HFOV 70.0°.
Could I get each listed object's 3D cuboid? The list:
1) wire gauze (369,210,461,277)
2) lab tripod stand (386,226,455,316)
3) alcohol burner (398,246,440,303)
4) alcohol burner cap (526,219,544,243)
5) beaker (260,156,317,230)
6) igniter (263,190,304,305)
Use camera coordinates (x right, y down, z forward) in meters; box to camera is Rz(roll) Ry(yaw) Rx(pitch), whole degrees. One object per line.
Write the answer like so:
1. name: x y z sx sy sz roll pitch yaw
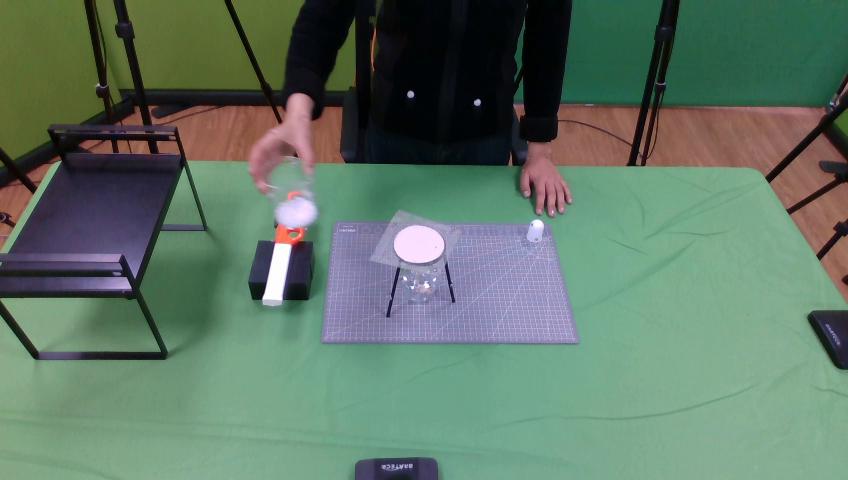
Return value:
1. wire gauze: -0.013 0.005 1.017 0.121 0.011 0.124 17 49 12
2. lab tripod stand: -0.013 0.054 1.064 0.148 0.132 0.147 2 48 -2
3. alcohol burner: -0.008 0.056 1.077 0.078 0.119 0.077 3 44 -3
4. alcohol burner cap: 0.225 -0.021 1.218 0.034 0.048 0.033 1 46 -1
5. beaker: -0.210 -0.072 0.970 0.084 0.101 0.073 14 51 13
6. igniter: -0.255 0.004 1.107 0.057 0.025 0.274 5 47 -7
